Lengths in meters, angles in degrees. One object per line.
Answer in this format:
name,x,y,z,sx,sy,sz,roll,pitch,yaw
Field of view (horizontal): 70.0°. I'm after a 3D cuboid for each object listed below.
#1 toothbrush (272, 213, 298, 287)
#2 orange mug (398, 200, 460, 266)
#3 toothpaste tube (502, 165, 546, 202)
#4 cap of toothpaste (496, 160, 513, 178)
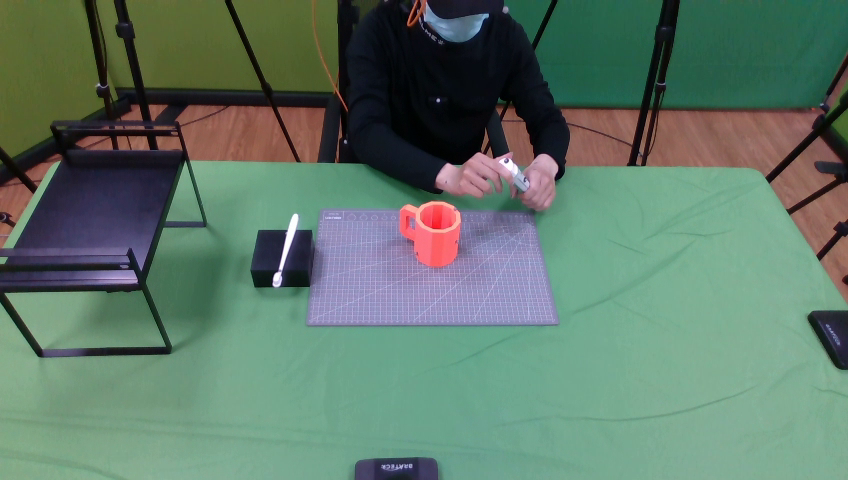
toothbrush,-0.252,0.012,1.103,0.014,0.017,0.181,1,46,3
orange mug,0.007,-0.020,1.161,0.126,0.101,0.083,27,50,15
toothpaste tube,0.198,-0.114,1.218,0.034,0.166,0.054,-51,56,10
cap of toothpaste,0.155,-0.136,1.156,0.037,0.011,0.037,-12,68,31
